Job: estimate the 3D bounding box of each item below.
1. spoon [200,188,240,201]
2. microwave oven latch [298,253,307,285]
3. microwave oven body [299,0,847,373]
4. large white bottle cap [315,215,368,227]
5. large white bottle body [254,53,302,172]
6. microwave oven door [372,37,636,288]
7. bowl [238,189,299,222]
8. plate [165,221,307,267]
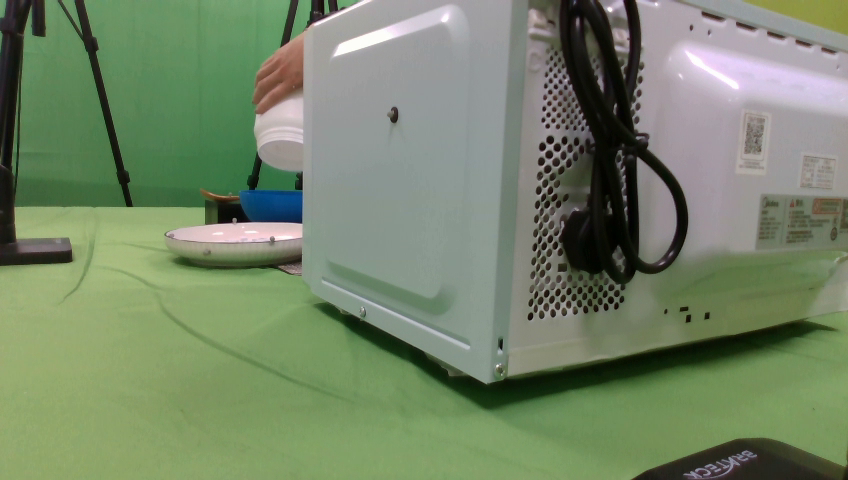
[{"bbox_3d":[-0.338,-0.080,1.190,0.194,0.021,0.041,5,2,-19],"label":"spoon"},{"bbox_3d":[-0.081,0.027,0.582,0.079,0.029,0.030,-1,7,-32],"label":"microwave oven latch"},{"bbox_3d":[0.151,-0.055,0.542,0.444,0.260,0.324,-2,7,-33],"label":"microwave oven body"},{"bbox_3d":[-0.178,-0.041,1.309,0.115,0.018,0.115,2,6,0],"label":"large white bottle cap"},{"bbox_3d":[-0.237,-0.229,1.100,0.131,0.184,0.130,0,-23,0],"label":"large white bottle body"},{"bbox_3d":[0.110,-0.080,0.686,0.358,0.243,0.039,-2,9,-33],"label":"microwave oven door"},{"bbox_3d":[-0.245,-0.045,1.053,0.151,0.077,0.151,3,8,0],"label":"bowl"},{"bbox_3d":[-0.241,0.004,0.829,0.209,0.038,0.209,0,9,0],"label":"plate"}]
